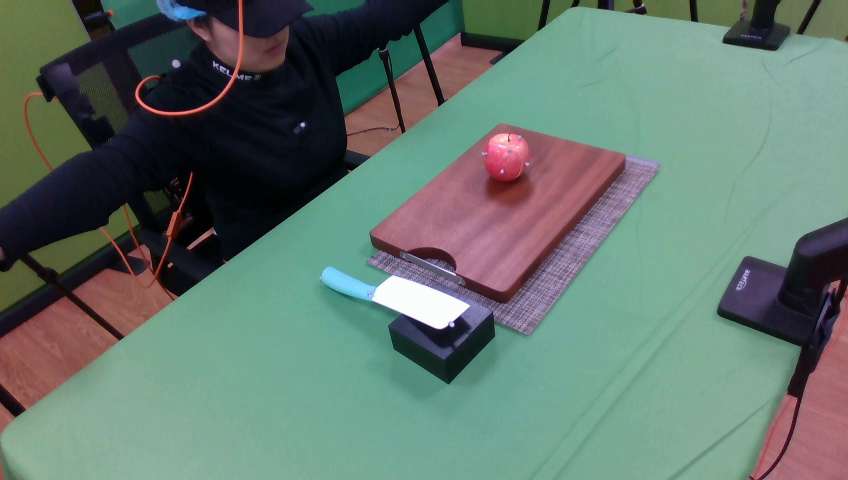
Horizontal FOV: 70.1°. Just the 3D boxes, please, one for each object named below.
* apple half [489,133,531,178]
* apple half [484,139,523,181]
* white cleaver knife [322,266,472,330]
[{"bbox_3d":[0.153,-0.150,1.051,0.080,0.075,0.053,21,44,35],"label":"apple half"},{"bbox_3d":[0.128,-0.129,1.029,0.080,0.081,0.033,22,45,32],"label":"apple half"},{"bbox_3d":[-0.049,0.076,0.867,0.284,0.021,0.066,16,41,43],"label":"white cleaver knife"}]
